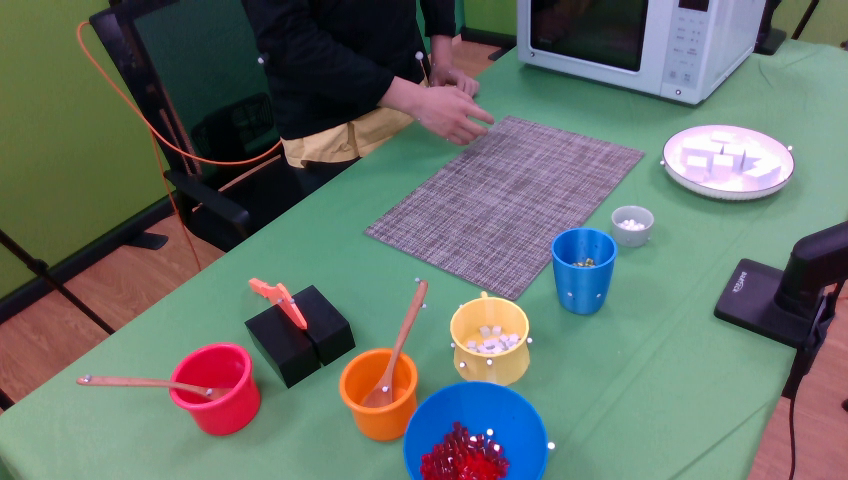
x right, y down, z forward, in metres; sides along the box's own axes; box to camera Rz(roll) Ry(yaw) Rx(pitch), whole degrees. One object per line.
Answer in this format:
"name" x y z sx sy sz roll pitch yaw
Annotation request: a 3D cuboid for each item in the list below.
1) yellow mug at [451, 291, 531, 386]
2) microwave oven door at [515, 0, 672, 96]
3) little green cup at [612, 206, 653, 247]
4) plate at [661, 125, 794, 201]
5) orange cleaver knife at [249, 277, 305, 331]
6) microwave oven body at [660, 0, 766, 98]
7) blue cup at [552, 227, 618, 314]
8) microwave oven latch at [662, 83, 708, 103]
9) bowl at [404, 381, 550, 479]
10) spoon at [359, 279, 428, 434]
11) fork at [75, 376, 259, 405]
"yellow mug" 0.085 0.120 0.786 0.100 0.064 0.130 -7 39 1
"microwave oven door" 0.343 -0.455 1.259 0.353 0.245 0.039 26 51 33
"little green cup" 0.321 -0.019 0.936 0.061 0.039 0.061 -4 41 4
"plate" 0.513 -0.128 1.035 0.207 0.039 0.206 -4 40 4
"orange cleaver knife" -0.210 0.088 0.856 0.012 0.077 0.210 -28 15 -25
"microwave oven body" 0.472 -0.513 1.317 0.438 0.261 0.327 26 51 34
"blue cup" 0.218 0.047 0.825 0.092 0.101 0.092 -6 40 5
"microwave oven latch" 0.517 -0.296 1.204 0.078 0.029 0.030 27 52 35
"bowl" 0.058 0.235 0.645 0.151 0.077 0.150 -4 39 4
"spoon" -0.032 0.138 0.719 0.041 0.193 0.022 22 4 30
"fork" -0.295 0.176 0.716 0.209 0.018 0.028 19 27 -36
